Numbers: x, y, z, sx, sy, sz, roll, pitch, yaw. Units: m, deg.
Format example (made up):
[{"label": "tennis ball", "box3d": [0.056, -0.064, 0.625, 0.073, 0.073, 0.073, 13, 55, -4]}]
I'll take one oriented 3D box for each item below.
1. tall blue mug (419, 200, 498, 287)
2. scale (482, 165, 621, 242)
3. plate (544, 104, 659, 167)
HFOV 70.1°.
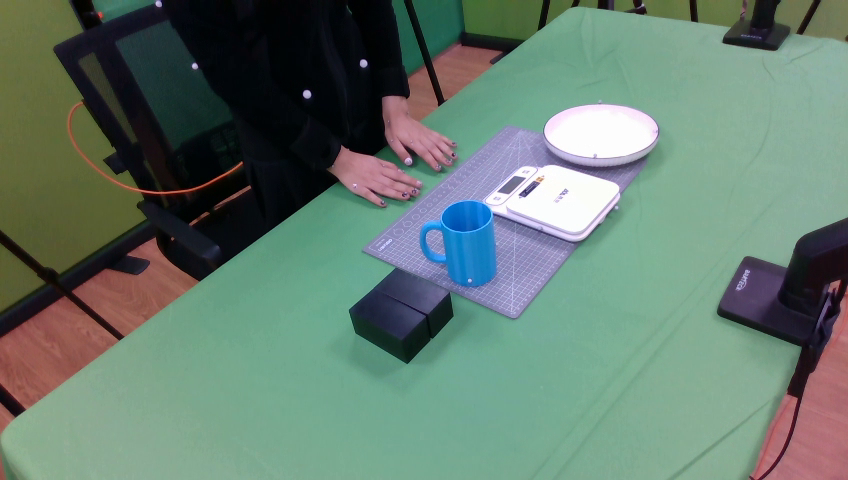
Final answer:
[{"label": "tall blue mug", "box3d": [0.053, 0.010, 0.889, 0.107, 0.108, 0.077, -15, 41, -7]}, {"label": "scale", "box3d": [0.211, -0.070, 1.014, 0.199, 0.032, 0.149, 23, 49, 33]}, {"label": "plate", "box3d": [0.328, -0.192, 1.131, 0.209, 0.038, 0.208, -4, 39, 4]}]
